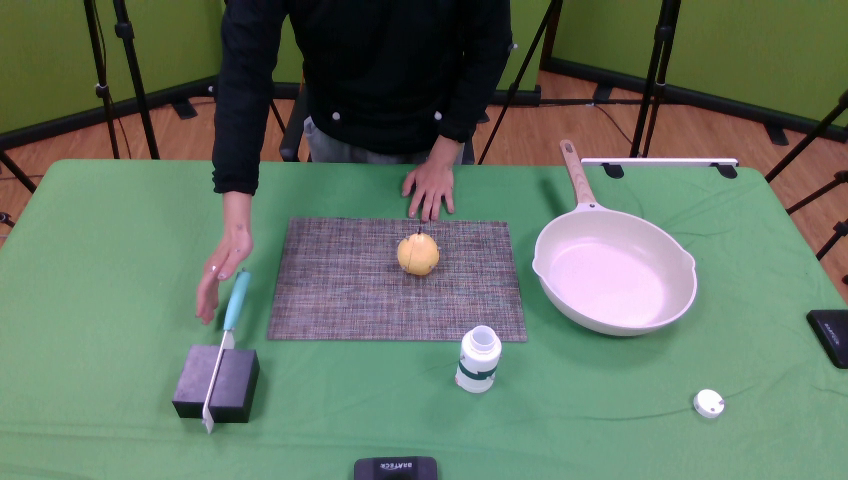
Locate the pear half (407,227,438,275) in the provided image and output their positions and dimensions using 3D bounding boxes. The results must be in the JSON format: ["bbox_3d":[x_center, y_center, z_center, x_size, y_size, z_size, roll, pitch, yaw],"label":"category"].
[{"bbox_3d":[0.000,0.016,1.117,0.056,0.110,0.076,5,51,0],"label":"pear half"}]

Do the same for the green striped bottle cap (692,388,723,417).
[{"bbox_3d":[0.460,0.263,0.984,0.044,0.020,0.044,3,46,-3],"label":"green striped bottle cap"}]

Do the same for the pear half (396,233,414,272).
[{"bbox_3d":[-0.036,0.019,1.125,0.031,0.088,0.070,5,50,-1],"label":"pear half"}]

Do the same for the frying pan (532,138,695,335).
[{"bbox_3d":[0.336,-0.024,1.190,0.307,0.103,0.484,-2,55,-7],"label":"frying pan"}]

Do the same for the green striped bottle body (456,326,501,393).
[{"bbox_3d":[0.086,0.186,0.959,0.063,0.120,0.063,2,46,-2],"label":"green striped bottle body"}]

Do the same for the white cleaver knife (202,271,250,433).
[{"bbox_3d":[-0.322,0.168,0.980,0.021,0.066,0.284,9,48,-7],"label":"white cleaver knife"}]
